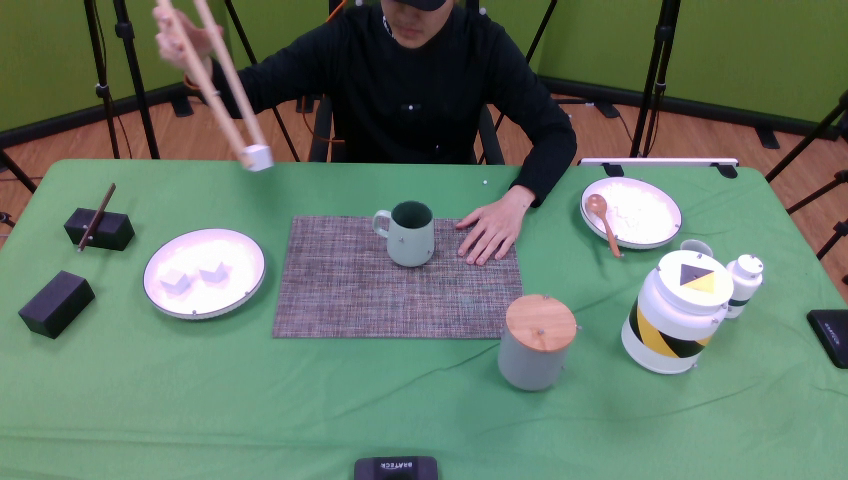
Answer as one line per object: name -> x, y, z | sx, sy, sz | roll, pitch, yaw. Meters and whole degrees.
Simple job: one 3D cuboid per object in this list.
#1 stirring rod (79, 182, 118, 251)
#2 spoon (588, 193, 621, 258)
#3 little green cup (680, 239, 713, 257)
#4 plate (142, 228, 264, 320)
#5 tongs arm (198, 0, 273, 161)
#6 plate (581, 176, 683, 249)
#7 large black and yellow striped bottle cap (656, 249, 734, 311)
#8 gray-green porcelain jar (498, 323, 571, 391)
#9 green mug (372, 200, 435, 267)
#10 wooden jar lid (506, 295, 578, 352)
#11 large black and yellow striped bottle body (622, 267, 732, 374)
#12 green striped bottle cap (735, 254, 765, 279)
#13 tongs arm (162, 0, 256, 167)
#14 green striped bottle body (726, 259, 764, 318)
stirring rod -> -0.605, -0.047, 1.130 | 0.006, 0.014, 0.175 | 0, 47, 1
spoon -> 0.367, -0.032, 1.220 | 0.041, 0.022, 0.192 | 2, 38, -1
little green cup -> 0.530, 0.033, 1.189 | 0.061, 0.039, 0.061 | 2, 48, -2
plate -> -0.394, 0.064, 1.095 | 0.208, 0.039, 0.206 | 2, 46, -2
tongs arm -> -0.323, -0.304, 0.944 | 0.028, 0.027, 0.388 | -28, 97, -34
plate -> 0.430, -0.054, 1.267 | 0.209, 0.038, 0.208 | 2, 46, -2
large black and yellow striped bottle cap -> 0.419, 0.061, 0.938 | 0.115, 0.019, 0.114 | 2, 47, -2
gray-green porcelain jar -> 0.176, 0.172, 0.971 | 0.106, 0.127, 0.105 | 2, 46, -2
green mug -> -0.040, -0.016, 1.146 | 0.125, 0.105, 0.092 | 17, 48, 13
wooden jar lid -> 0.179, 0.130, 0.925 | 0.108, 0.021, 0.107 | 2, 43, -2
large black and yellow striped bottle body -> 0.415, 0.119, 0.997 | 0.131, 0.185, 0.130 | 2, 46, -2
green striped bottle cap -> 0.566, 0.046, 1.051 | 0.044, 0.020, 0.044 | 0, 45, 0
tongs arm -> -0.340, -0.295, 0.929 | 0.051, 0.026, 0.385 | -33, 100, -37
green striped bottle body -> 0.563, 0.081, 1.089 | 0.063, 0.120, 0.063 | 2, 46, -2
